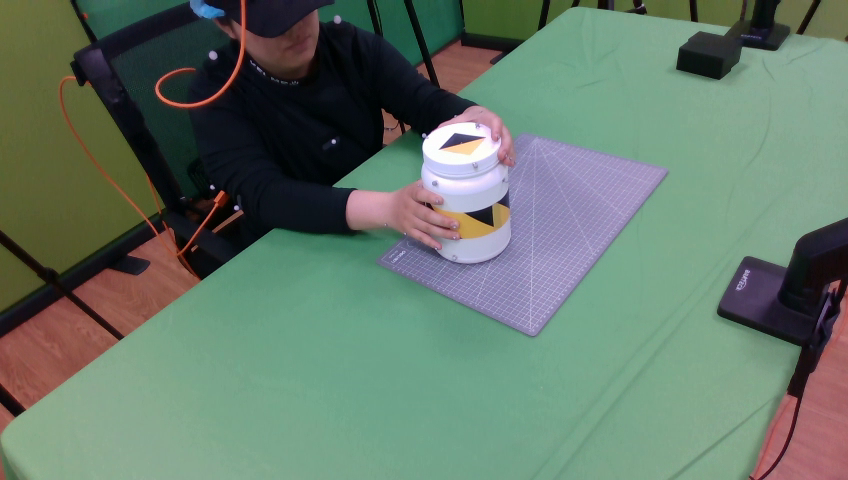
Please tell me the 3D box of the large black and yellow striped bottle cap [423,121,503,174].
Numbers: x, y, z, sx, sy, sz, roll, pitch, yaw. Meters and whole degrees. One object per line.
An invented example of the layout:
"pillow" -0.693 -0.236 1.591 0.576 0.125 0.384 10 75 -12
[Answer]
"large black and yellow striped bottle cap" 0.056 -0.135 0.870 0.115 0.019 0.114 -5 41 5

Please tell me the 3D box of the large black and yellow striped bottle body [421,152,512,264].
"large black and yellow striped bottle body" 0.066 -0.070 0.923 0.131 0.185 0.130 -5 40 5
